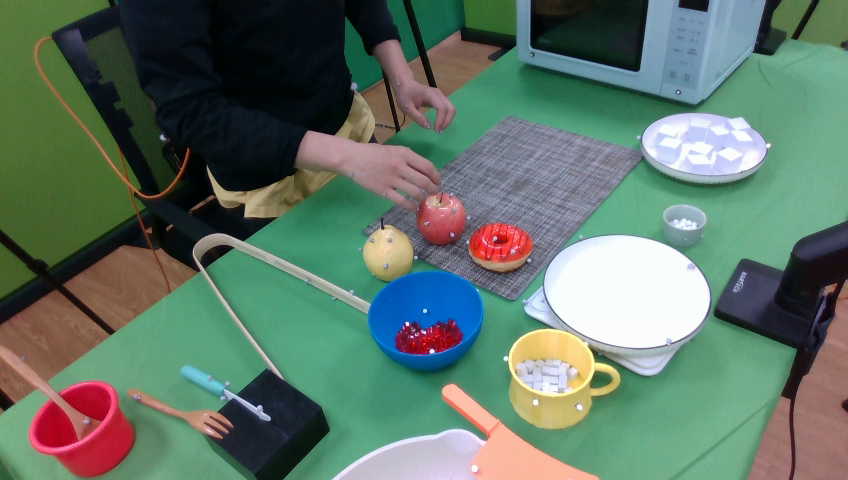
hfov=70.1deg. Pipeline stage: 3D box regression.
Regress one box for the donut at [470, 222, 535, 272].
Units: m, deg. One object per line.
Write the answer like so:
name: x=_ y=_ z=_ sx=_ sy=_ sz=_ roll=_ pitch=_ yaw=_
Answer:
donut: x=0.119 y=0.009 z=0.923 sx=0.099 sy=0.048 sz=0.098 roll=-3 pitch=39 yaw=3

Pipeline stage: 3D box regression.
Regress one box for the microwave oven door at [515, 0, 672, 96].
microwave oven door: x=0.343 y=-0.454 z=1.259 sx=0.353 sy=0.245 sz=0.039 roll=26 pitch=51 yaw=33

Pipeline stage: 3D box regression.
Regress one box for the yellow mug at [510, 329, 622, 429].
yellow mug: x=0.168 y=0.164 z=0.721 sx=0.130 sy=0.064 sz=0.099 roll=0 pitch=40 yaw=8

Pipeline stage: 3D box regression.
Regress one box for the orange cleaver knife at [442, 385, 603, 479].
orange cleaver knife: x=0.086 y=0.219 z=0.612 sx=0.209 sy=0.012 sz=0.077 roll=28 pitch=49 yaw=35

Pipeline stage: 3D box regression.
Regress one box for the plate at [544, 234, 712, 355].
plate: x=0.262 y=0.072 z=0.792 sx=0.209 sy=0.038 sz=0.208 roll=-4 pitch=41 yaw=4

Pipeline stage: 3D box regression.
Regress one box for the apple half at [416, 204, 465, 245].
apple half: x=0.027 y=-0.018 z=0.944 sx=0.081 sy=0.081 sz=0.032 roll=-4 pitch=37 yaw=5

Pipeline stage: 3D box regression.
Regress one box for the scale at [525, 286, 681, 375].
scale: x=0.254 y=0.091 z=0.821 sx=0.199 sy=0.032 sz=0.149 roll=28 pitch=51 yaw=35

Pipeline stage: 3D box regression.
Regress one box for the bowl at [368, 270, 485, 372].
bowl: x=0.007 y=0.118 z=0.791 sx=0.151 sy=0.077 sz=0.150 roll=-5 pitch=40 yaw=4

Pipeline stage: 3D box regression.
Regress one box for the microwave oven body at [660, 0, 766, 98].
microwave oven body: x=0.472 y=-0.513 z=1.317 sx=0.438 sy=0.261 sz=0.327 roll=26 pitch=51 yaw=34

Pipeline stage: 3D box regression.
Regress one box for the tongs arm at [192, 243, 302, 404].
tongs arm: x=-0.268 y=0.109 z=0.884 sx=0.028 sy=0.028 sz=0.384 roll=-35 pitch=46 yaw=-18

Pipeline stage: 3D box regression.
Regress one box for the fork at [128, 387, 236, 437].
fork: x=-0.305 y=0.207 z=0.744 sx=0.206 sy=0.019 sz=0.028 roll=3 pitch=40 yaw=36

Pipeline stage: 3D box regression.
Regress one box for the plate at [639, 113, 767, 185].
plate: x=0.489 y=-0.157 z=1.074 sx=0.207 sy=0.039 sz=0.206 roll=-4 pitch=40 yaw=4

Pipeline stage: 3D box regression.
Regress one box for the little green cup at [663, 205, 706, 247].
little green cup: x=0.396 y=-0.020 z=0.926 sx=0.061 sy=0.039 sz=0.061 roll=-4 pitch=40 yaw=4

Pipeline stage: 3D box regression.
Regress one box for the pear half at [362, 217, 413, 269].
pear half: x=-0.059 y=0.002 z=0.913 sx=0.076 sy=0.110 sz=0.055 roll=-14 pitch=40 yaw=-13

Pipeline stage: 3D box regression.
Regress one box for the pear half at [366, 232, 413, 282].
pear half: x=-0.048 y=0.031 z=0.893 sx=0.071 sy=0.088 sz=0.031 roll=-16 pitch=40 yaw=-13

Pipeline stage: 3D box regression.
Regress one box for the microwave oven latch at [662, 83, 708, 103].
microwave oven latch: x=0.517 y=-0.296 z=1.204 sx=0.078 sy=0.029 sz=0.030 roll=28 pitch=52 yaw=35

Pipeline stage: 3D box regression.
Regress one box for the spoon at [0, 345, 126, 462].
spoon: x=-0.434 y=0.192 z=0.720 sx=0.194 sy=0.021 sz=0.042 roll=47 pitch=53 yaw=-7

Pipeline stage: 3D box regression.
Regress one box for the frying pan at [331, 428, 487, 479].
frying pan: x=-0.089 y=0.306 z=0.564 sx=0.487 sy=0.103 sz=0.306 roll=9 pitch=41 yaw=7

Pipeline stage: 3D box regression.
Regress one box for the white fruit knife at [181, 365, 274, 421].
white fruit knife: x=-0.246 y=0.187 z=0.747 sx=0.205 sy=0.027 sz=0.016 roll=9 pitch=41 yaw=41

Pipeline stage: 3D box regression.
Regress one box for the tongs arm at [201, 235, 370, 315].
tongs arm: x=-0.209 y=0.062 z=0.924 sx=0.381 sy=0.026 sz=0.051 roll=23 pitch=53 yaw=32

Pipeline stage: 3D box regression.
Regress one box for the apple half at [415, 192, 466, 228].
apple half: x=0.028 y=-0.042 z=0.974 sx=0.081 sy=0.075 sz=0.053 roll=-5 pitch=37 yaw=8
